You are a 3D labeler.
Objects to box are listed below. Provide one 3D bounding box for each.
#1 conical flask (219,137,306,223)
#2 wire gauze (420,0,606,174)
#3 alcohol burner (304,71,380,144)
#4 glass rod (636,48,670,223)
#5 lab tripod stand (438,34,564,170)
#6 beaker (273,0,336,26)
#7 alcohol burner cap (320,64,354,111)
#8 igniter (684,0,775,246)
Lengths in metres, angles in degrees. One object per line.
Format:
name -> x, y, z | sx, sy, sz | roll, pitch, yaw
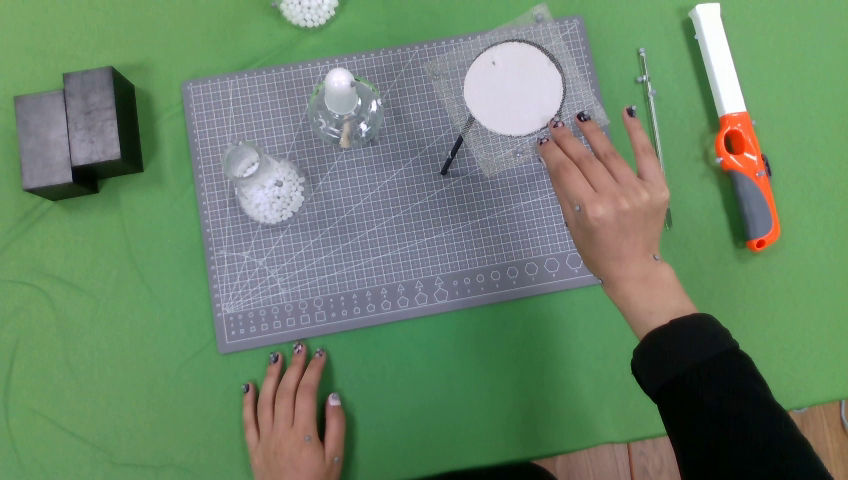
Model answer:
conical flask -> -0.162, -0.063, 0.589 | 0.075, 0.122, 0.075 | 0, 82, -1
wire gauze -> 0.078, -0.133, 0.529 | 0.125, 0.011, 0.121 | -26, 84, -4
alcohol burner -> -0.083, -0.139, 0.605 | 0.078, 0.119, 0.077 | 0, 81, -2
glass rod -> 0.250, -0.116, 0.664 | 0.008, 0.008, 0.199 | -6, 82, -2
lab tripod stand -> 0.076, -0.127, 0.596 | 0.148, 0.131, 0.148 | 0, 84, -1
beaker -> -0.130, -0.279, 0.633 | 0.074, 0.100, 0.084 | 38, 83, 4
alcohol burner cap -> -0.082, -0.147, 0.570 | 0.034, 0.048, 0.033 | 2, 74, -7
igniter -> 0.332, -0.130, 0.658 | 0.057, 0.025, 0.275 | -9, 83, -13
